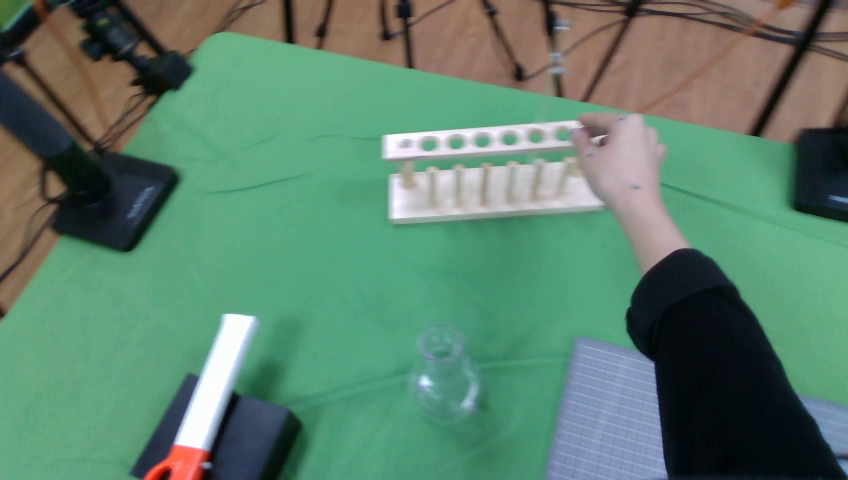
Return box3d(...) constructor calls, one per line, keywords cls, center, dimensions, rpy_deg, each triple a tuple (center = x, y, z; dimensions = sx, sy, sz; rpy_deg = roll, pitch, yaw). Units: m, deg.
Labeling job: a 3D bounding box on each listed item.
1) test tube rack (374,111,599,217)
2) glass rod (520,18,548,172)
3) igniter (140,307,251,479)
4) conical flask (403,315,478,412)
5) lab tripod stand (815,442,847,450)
box3d(cls="test tube rack", center=(0.069, -0.084, 0.687), dimensions=(0.242, 0.086, 0.066), rpy_deg=(-4, 61, 1))
box3d(cls="glass rod", center=(0.114, -0.143, 0.640), dimensions=(0.008, 0.201, 0.008), rpy_deg=(-1, 52, 1))
box3d(cls="igniter", center=(-0.211, 0.187, 0.531), dimensions=(0.057, 0.025, 0.274), rpy_deg=(5, 60, 12))
box3d(cls="conical flask", center=(0.013, 0.109, 0.560), dimensions=(0.075, 0.123, 0.074), rpy_deg=(-2, 60, 3))
box3d(cls="lab tripod stand", center=(0.367, 0.218, 0.467), dimensions=(0.148, 0.132, 0.147), rpy_deg=(-1, 59, 2))
